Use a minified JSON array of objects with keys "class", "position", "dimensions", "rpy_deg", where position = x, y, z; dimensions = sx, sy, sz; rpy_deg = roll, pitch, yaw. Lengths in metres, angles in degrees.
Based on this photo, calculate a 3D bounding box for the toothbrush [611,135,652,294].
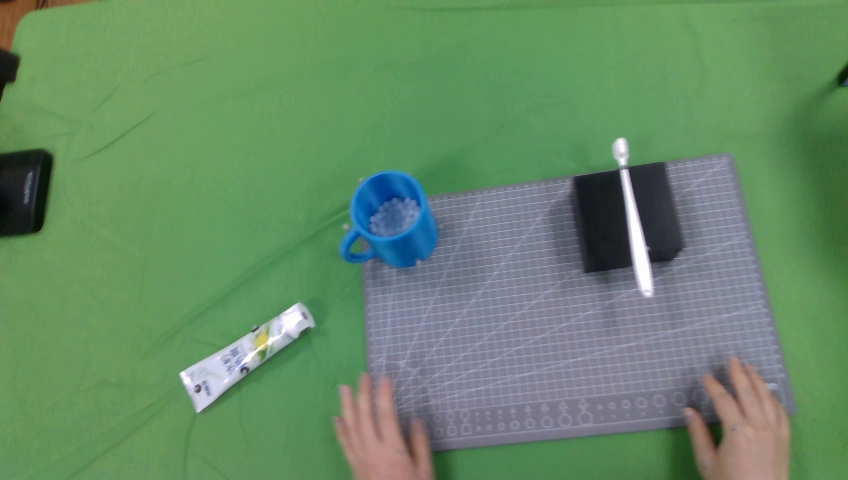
[{"class":"toothbrush","position":[0.223,-0.031,0.650],"dimensions":[0.014,0.017,0.180],"rpy_deg":[-5,73,0]}]

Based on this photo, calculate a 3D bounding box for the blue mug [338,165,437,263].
[{"class":"blue mug","position":[-0.046,-0.017,0.690],"dimensions":[0.116,0.106,0.082],"rpy_deg":[-35,71,-2]}]

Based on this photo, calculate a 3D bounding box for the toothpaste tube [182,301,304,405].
[{"class":"toothpaste tube","position":[-0.210,0.126,0.715],"dimensions":[0.165,0.035,0.054],"rpy_deg":[-34,67,1]}]

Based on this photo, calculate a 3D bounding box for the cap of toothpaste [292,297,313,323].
[{"class":"cap of toothpaste","position":[-0.144,0.084,0.712],"dimensions":[0.011,0.037,0.037],"rpy_deg":[-34,71,2]}]
